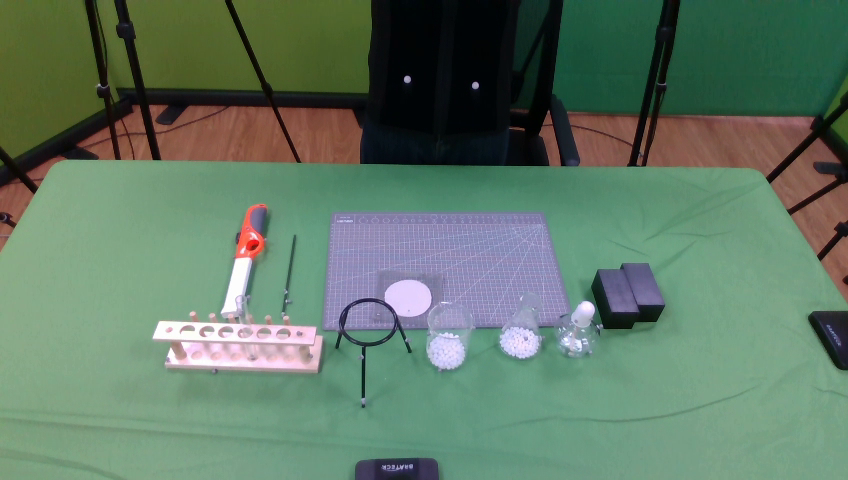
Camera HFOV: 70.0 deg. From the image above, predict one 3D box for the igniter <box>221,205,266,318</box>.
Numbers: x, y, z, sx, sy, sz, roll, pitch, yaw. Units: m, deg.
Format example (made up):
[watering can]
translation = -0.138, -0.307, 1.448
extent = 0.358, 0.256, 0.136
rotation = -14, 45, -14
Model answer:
[igniter]
translation = -0.337, 0.030, 1.140
extent = 0.057, 0.025, 0.274
rotation = -5, 46, 3

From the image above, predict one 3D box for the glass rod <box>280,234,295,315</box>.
[glass rod]
translation = -0.253, 0.060, 1.132
extent = 0.008, 0.008, 0.198
rotation = 0, 46, -4

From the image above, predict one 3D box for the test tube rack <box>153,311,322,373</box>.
[test tube rack]
translation = -0.293, 0.160, 0.978
extent = 0.242, 0.085, 0.066
rotation = 3, 46, -2

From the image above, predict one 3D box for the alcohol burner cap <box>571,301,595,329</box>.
[alcohol burner cap]
translation = 0.262, 0.120, 0.991
extent = 0.034, 0.048, 0.033
rotation = 1, 52, -2

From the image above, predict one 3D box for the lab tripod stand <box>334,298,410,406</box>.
[lab tripod stand]
translation = -0.086, 0.164, 0.957
extent = 0.148, 0.132, 0.147
rotation = 3, 44, -2

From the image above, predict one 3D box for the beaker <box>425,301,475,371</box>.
[beaker]
translation = 0.038, 0.159, 0.996
extent = 0.074, 0.101, 0.083
rotation = -13, 48, -17

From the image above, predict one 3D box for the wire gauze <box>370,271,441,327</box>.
[wire gauze]
translation = -0.032, 0.103, 1.105
extent = 0.125, 0.011, 0.121
rotation = 4, 46, 3

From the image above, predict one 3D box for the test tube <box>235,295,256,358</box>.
[test tube]
translation = -0.274, 0.136, 0.933
extent = 0.017, 0.151, 0.017
rotation = 4, 46, -4

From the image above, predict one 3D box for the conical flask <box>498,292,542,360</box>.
[conical flask]
translation = 0.167, 0.139, 1.010
extent = 0.075, 0.122, 0.075
rotation = 2, 46, -2

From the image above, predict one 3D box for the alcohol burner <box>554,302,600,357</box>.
[alcohol burner]
translation = 0.260, 0.143, 1.018
extent = 0.078, 0.119, 0.077
rotation = 3, 45, -3
